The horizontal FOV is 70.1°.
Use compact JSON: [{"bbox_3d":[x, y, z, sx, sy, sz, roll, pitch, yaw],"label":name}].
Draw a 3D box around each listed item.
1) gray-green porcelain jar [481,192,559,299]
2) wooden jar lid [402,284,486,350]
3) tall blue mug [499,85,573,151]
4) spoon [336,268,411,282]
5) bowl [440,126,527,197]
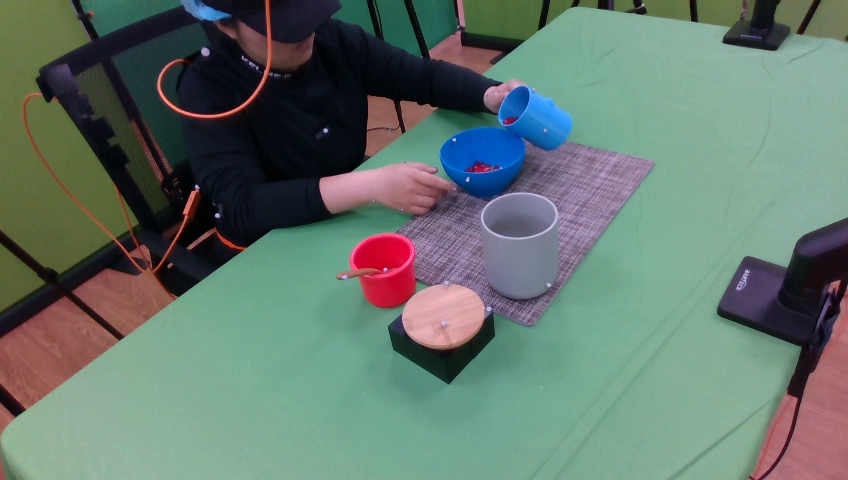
[{"bbox_3d":[0.138,0.012,0.858,0.106,0.127,0.105,-6,40,5],"label":"gray-green porcelain jar"},{"bbox_3d":[0.026,0.101,0.786,0.108,0.021,0.108,-5,39,4],"label":"wooden jar lid"},{"bbox_3d":[0.190,-0.217,1.074,0.106,0.109,0.077,30,97,57],"label":"tall blue mug"},{"bbox_3d":[-0.071,0.047,0.850,0.041,0.195,0.021,18,93,24],"label":"spoon"},{"bbox_3d":[0.107,-0.130,1.070,0.151,0.077,0.150,-5,40,5],"label":"bowl"}]
